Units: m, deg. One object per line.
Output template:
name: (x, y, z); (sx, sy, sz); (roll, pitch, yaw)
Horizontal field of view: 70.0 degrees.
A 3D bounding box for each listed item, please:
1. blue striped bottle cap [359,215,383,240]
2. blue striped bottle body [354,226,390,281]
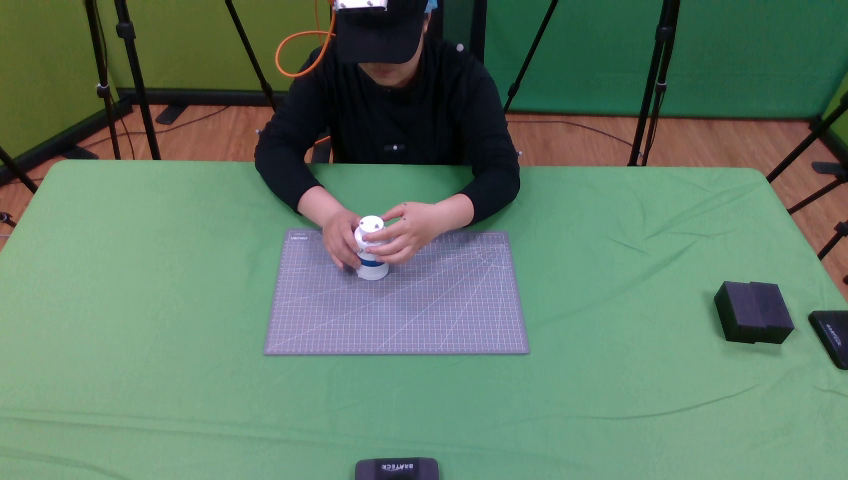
blue striped bottle cap: (-0.094, -0.023, 1.070); (0.044, 0.021, 0.044); (2, 47, -2)
blue striped bottle body: (-0.095, 0.014, 1.106); (0.063, 0.121, 0.062); (0, 45, 0)
